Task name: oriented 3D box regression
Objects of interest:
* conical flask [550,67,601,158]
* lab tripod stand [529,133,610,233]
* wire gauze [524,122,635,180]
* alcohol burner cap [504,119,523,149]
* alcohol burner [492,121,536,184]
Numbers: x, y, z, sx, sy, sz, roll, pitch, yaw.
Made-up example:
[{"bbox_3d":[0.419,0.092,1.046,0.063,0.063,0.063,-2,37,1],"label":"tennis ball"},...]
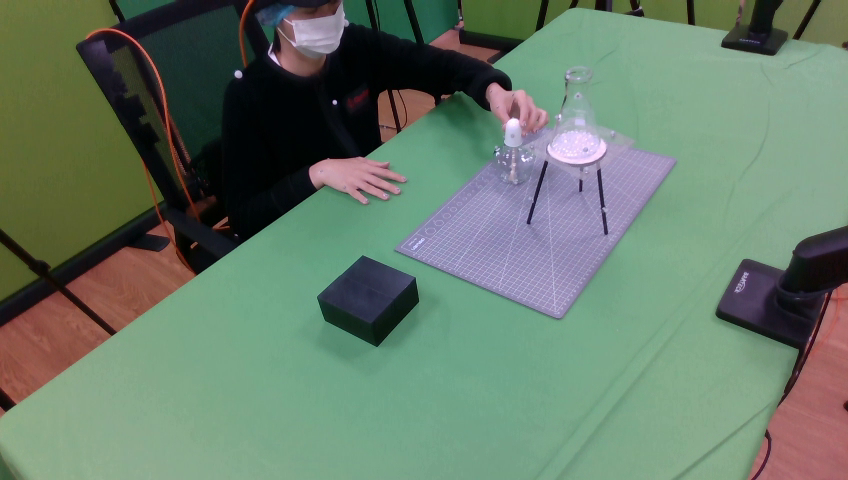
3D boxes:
[{"bbox_3d":[0.221,-0.186,0.875,0.075,0.122,0.075,-5,40,5],"label":"conical flask"},{"bbox_3d":[0.236,-0.089,0.953,0.148,0.132,0.147,-5,42,5],"label":"lab tripod stand"},{"bbox_3d":[0.233,-0.142,0.913,0.122,0.011,0.124,-31,43,-26],"label":"wire gauze"},{"bbox_3d":[0.154,-0.185,1.041,0.034,0.048,0.033,-3,43,4],"label":"alcohol burner cap"},{"bbox_3d":[0.159,-0.158,1.064,0.078,0.119,0.077,-3,41,3],"label":"alcohol burner"}]
